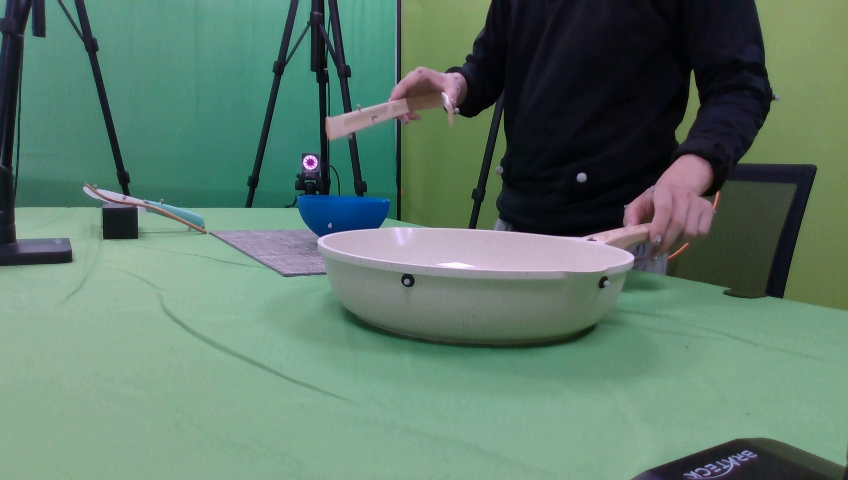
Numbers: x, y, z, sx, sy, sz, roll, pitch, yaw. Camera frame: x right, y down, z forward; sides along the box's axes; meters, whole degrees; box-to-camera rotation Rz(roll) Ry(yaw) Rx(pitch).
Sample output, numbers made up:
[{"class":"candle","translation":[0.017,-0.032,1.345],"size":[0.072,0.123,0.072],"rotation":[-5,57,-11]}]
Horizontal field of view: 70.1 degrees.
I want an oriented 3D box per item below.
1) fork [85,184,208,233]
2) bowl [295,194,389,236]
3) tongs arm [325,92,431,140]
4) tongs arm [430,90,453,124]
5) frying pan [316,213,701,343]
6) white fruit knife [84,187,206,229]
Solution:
[{"class":"fork","translation":[-0.462,-0.051,1.019],"size":[0.208,0.018,0.028],"rotation":[22,-11,-37]},{"class":"bowl","translation":[-0.132,-0.032,0.981],"size":[0.151,0.077,0.151],"rotation":[2,7,0]},{"class":"tongs arm","translation":[-0.050,-0.185,0.869],"size":[0.050,0.026,0.385],"rotation":[-6,15,14]},{"class":"tongs arm","translation":[0.025,-0.192,0.857],"size":[0.028,0.028,0.387],"rotation":[-13,15,3]},{"class":"frying pan","translation":[0.133,0.014,0.629],"size":[0.490,0.102,0.305],"rotation":[-11,14,-30]},{"class":"white fruit knife","translation":[-0.488,-0.059,1.071],"size":[0.208,0.027,0.016],"rotation":[17,4,-33]}]
